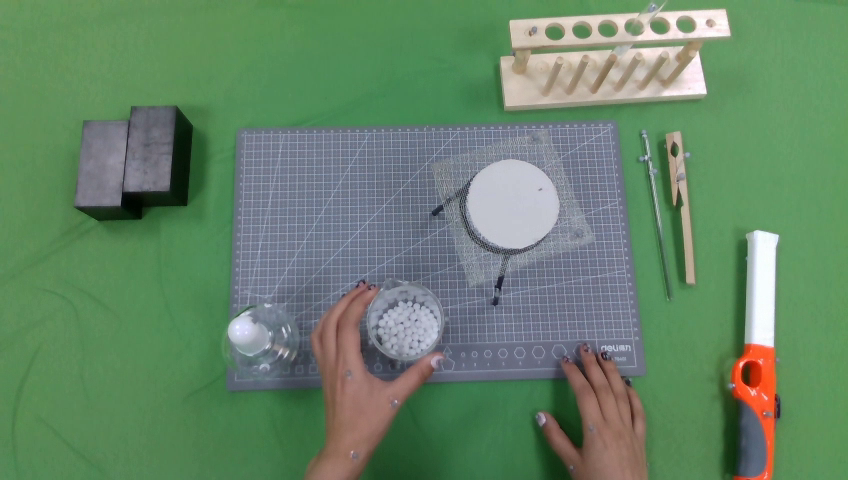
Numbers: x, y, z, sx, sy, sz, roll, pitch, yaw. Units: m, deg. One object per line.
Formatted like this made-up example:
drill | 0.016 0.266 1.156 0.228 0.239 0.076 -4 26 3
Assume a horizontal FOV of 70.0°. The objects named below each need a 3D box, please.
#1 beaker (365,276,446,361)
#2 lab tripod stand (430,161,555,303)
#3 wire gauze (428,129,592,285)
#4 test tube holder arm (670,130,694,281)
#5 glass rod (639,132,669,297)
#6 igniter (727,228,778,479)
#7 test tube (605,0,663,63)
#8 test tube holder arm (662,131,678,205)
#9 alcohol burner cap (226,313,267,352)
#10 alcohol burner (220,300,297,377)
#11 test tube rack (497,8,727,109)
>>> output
beaker | -0.021 0.084 0.616 0.074 0.100 0.083 -23 77 -7
lab tripod stand | 0.072 -0.016 0.624 0.148 0.132 0.147 0 77 1
wire gauze | 0.078 -0.034 0.560 0.121 0.011 0.124 -18 77 -4
test tube holder arm | 0.295 -0.041 0.695 0.013 0.015 0.177 -10 75 31
glass rod | 0.264 -0.032 0.699 0.008 0.008 0.198 -3 76 -2
igniter | 0.356 0.122 0.655 0.057 0.025 0.275 12 76 -8
test tube | 0.232 -0.236 0.657 0.017 0.150 0.017 2 75 -7
test tube holder arm | 0.289 -0.084 0.708 0.010 0.015 0.087 -10 75 31
alcohol burner cap | -0.168 0.085 0.568 0.034 0.048 0.033 1 66 -2
alcohol burner | -0.168 0.096 0.602 0.078 0.119 0.077 0 74 0
test tube rack | 0.213 -0.208 0.701 0.242 0.085 0.066 -4 76 -2
